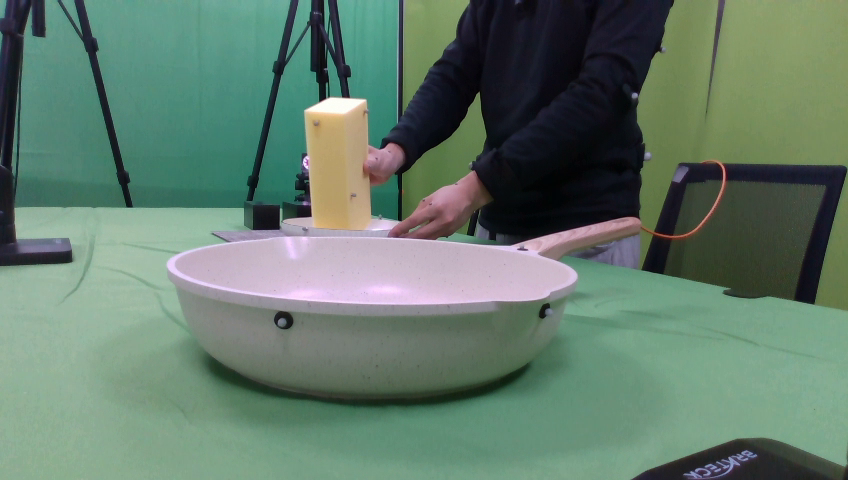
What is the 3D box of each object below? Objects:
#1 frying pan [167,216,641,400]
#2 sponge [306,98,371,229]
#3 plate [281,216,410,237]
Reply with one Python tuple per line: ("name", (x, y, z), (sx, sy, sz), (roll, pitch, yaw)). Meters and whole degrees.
("frying pan", (0.046, 0.024, 0.519), (0.490, 0.102, 0.305), (-14, 16, -37))
("sponge", (-0.128, -0.106, 0.931), (0.061, 0.207, 0.118), (4, 24, 8))
("plate", (-0.126, -0.012, 0.986), (0.208, 0.039, 0.207), (2, 7, 0))
